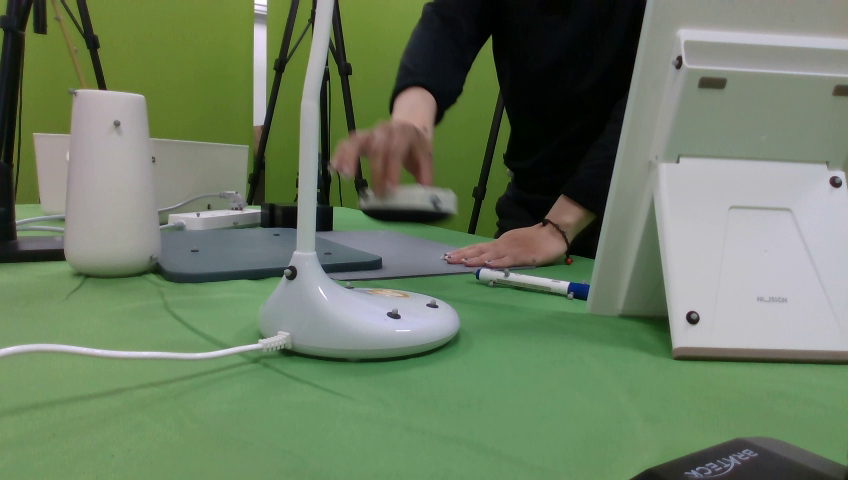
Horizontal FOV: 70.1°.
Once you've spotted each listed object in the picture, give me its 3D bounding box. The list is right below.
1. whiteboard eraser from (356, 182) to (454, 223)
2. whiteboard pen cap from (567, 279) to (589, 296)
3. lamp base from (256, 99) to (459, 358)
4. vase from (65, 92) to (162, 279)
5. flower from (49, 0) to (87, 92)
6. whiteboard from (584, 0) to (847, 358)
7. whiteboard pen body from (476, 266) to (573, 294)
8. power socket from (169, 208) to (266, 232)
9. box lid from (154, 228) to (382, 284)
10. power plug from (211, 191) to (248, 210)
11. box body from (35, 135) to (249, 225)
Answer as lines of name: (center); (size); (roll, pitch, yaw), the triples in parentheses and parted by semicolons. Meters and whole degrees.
whiteboard eraser: (-0.022, -0.039, 0.649); (0.056, 0.042, 0.112); (0, 2, -38)
whiteboard pen cap: (0.171, 0.052, 0.648); (0.033, 0.018, 0.018); (10, 11, 31)
lamp base: (-0.055, -0.013, 0.463); (0.160, 0.180, 0.180); (6, 11, 27)
vase: (-0.347, -0.060, 0.673); (0.098, 0.200, 0.098); (1, 7, 0)
flower: (-0.361, -0.141, 0.659); (0.038, 0.361, 0.044); (-13, 11, 11)
whiteboard: (0.269, -0.034, 0.466); (0.217, 0.305, 0.143); (2, 27, -1)
whiteboard pen body: (0.123, 0.046, 0.680); (0.140, 0.017, 0.017); (8, 10, 30)
power socket: (-0.379, -0.038, 1.129); (0.072, 0.032, 0.227); (4, 8, 18)
box lid: (-0.250, 0.014, 0.853); (0.265, 0.015, 0.369); (-3, 9, -32)
power plug: (-0.384, -0.071, 1.206); (0.072, 0.052, 0.035); (1, 7, 27)
box body: (-0.561, -0.127, 1.258); (0.254, 0.160, 0.365); (4, 8, 13)
